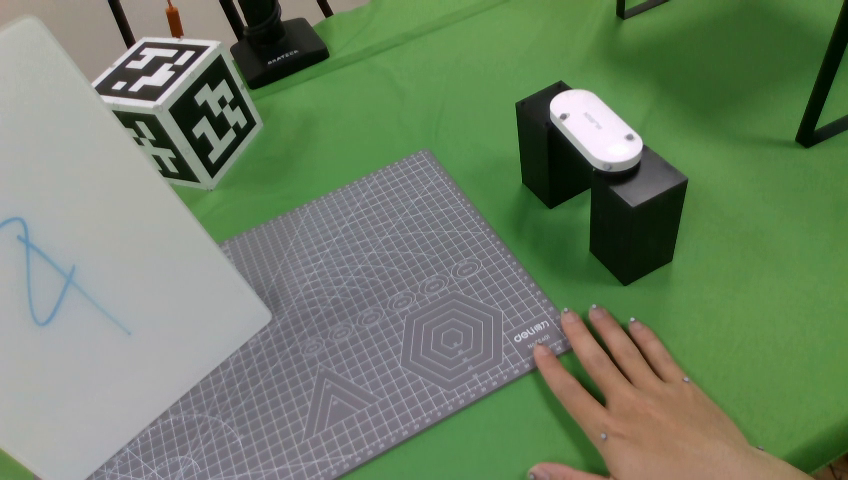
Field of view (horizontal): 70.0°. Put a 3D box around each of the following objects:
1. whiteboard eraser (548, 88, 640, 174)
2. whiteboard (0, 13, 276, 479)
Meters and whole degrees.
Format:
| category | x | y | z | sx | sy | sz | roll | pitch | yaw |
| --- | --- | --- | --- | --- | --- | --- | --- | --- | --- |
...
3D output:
| category | x | y | z | sx | sy | sz | roll | pitch | yaw |
| --- | --- | --- | --- | --- | --- | --- | --- | --- | --- |
| whiteboard eraser | 0.136 | -0.092 | 0.494 | 0.041 | 0.019 | 0.100 | -23 | 50 | -7 |
| whiteboard | -0.313 | 0.014 | 0.496 | 0.217 | 0.308 | 0.142 | -43 | 34 | -20 |
